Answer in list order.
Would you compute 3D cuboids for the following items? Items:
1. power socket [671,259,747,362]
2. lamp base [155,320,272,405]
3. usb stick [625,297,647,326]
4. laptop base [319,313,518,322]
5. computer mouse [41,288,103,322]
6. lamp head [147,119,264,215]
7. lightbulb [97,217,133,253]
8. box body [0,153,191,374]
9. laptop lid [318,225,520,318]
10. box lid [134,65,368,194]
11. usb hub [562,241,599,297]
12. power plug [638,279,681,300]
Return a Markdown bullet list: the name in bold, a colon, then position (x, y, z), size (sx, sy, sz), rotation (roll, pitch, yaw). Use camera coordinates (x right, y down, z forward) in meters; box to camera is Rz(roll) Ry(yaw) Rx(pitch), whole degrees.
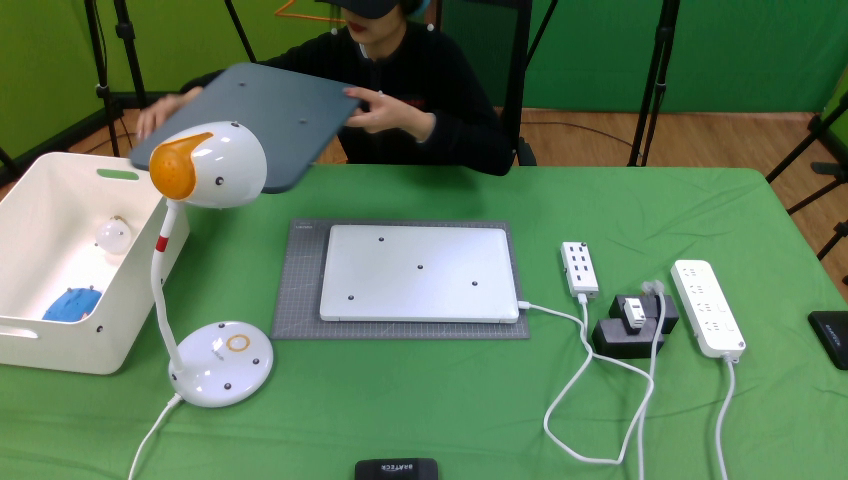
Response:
- **power socket**: position (0.516, 0.119, 1.108), size (0.072, 0.033, 0.225), rotation (1, 46, -2)
- **lamp base**: position (-0.330, 0.149, 0.918), size (0.160, 0.181, 0.179), rotation (26, 52, 20)
- **usb stick**: position (0.360, 0.116, 1.034), size (0.021, 0.027, 0.059), rotation (-2, 44, -2)
- **laptop base**: position (-0.009, 0.062, 1.137), size (0.354, 0.023, 0.234), rotation (1, 42, -3)
- **computer mouse**: position (-0.593, 0.123, 1.016), size (0.063, 0.041, 0.116), rotation (4, 41, 3)
- **lamp head**: position (-0.276, -0.087, 0.740), size (0.112, 0.112, 0.123), rotation (20, 23, 15)
- **lightbulb**: position (-0.582, -0.016, 1.147), size (0.059, 0.060, 0.107), rotation (-12, 27, -15)
- **box body**: position (-0.582, 0.033, 1.027), size (0.254, 0.161, 0.362), rotation (5, 46, 2)
- **laptop lid**: position (-0.009, 0.053, 1.131), size (0.357, 0.013, 0.240), rotation (2, 43, -2)
- **box lid**: position (-0.267, -0.197, 1.002), size (0.263, 0.015, 0.370), rotation (11, 40, 9)
- **usb hub**: position (0.300, 0.054, 1.162), size (0.049, 0.025, 0.124), rotation (3, 46, -3)
- **power plug**: position (0.434, 0.099, 1.118), size (0.073, 0.053, 0.035), rotation (34, 37, -15)
